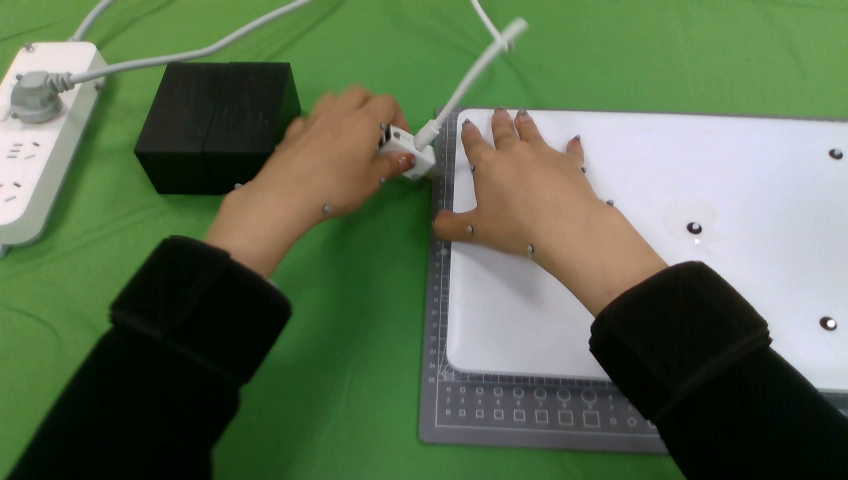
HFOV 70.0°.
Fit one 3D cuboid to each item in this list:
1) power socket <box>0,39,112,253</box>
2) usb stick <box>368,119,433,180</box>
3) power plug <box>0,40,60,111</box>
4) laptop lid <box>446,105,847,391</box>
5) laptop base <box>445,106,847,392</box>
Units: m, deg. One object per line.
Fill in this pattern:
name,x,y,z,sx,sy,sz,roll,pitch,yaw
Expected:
power socket,-0.324,-0.090,0.502,0.072,0.033,0.224,1,55,-1
usb stick,-0.013,-0.067,0.471,0.027,0.060,0.021,-39,44,24
power plug,-0.313,-0.134,0.470,0.053,0.073,0.035,11,37,-22
laptop lid,0.196,-0.008,0.441,0.356,0.013,0.239,4,58,3
laptop base,0.196,-0.003,0.452,0.354,0.023,0.233,3,59,2
